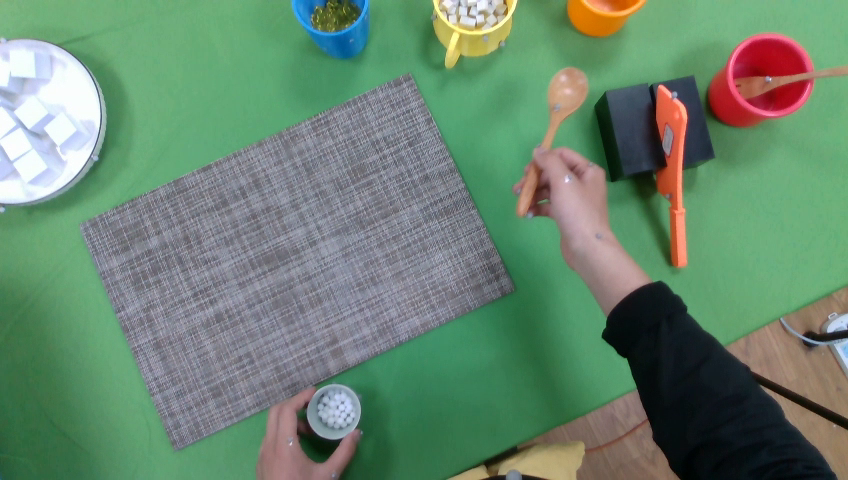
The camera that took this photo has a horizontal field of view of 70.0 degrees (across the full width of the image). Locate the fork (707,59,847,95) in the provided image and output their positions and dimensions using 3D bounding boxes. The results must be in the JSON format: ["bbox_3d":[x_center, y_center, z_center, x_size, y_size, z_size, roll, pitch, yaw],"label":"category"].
[{"bbox_3d":[0.426,-0.188,0.674,0.206,0.019,0.028,0,81,43],"label":"fork"}]

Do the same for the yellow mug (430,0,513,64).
[{"bbox_3d":[0.050,-0.273,0.727,0.100,0.064,0.130,23,87,3],"label":"yellow mug"}]

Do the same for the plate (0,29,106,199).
[{"bbox_3d":[-0.487,-0.150,0.740,0.208,0.039,0.207,0,85,1],"label":"plate"}]

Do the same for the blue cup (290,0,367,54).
[{"bbox_3d":[-0.105,-0.266,0.712,0.092,0.100,0.092,0,86,0],"label":"blue cup"}]

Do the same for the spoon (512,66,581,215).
[{"bbox_3d":[0.122,-0.107,0.624,0.041,0.022,0.192,23,62,2],"label":"spoon"}]

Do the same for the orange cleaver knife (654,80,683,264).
[{"bbox_3d":[0.281,-0.075,0.700,0.012,0.076,0.213,-10,115,3],"label":"orange cleaver knife"}]

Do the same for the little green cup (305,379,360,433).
[{"bbox_3d":[-0.104,0.192,0.709,0.061,0.039,0.061,0,86,4],"label":"little green cup"}]
